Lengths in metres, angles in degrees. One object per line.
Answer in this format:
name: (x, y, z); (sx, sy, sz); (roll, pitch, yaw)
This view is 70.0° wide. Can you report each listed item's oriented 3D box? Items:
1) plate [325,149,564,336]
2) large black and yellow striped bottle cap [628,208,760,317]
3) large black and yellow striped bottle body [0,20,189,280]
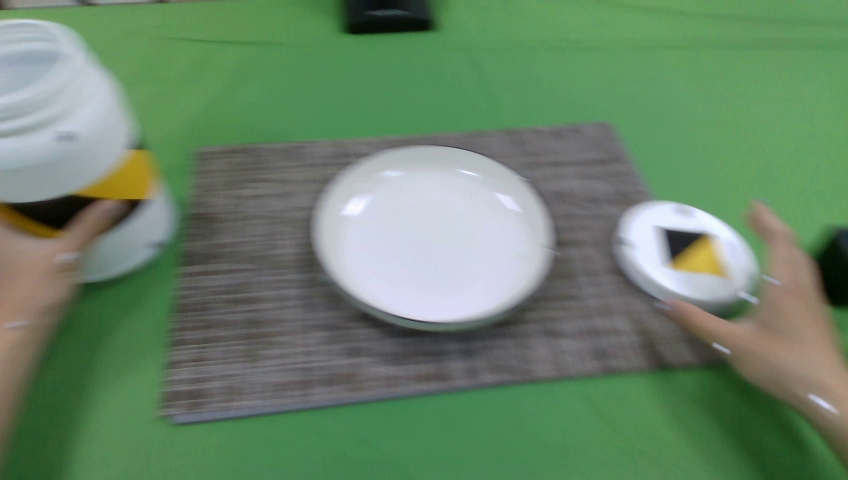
plate: (0.018, 0.001, 0.540); (0.208, 0.039, 0.205); (1, 50, -1)
large black and yellow striped bottle cap: (0.244, 0.017, 0.547); (0.115, 0.019, 0.114); (4, 50, -4)
large black and yellow striped bottle body: (-0.284, -0.069, 0.496); (0.131, 0.185, 0.129); (1, 50, -1)
